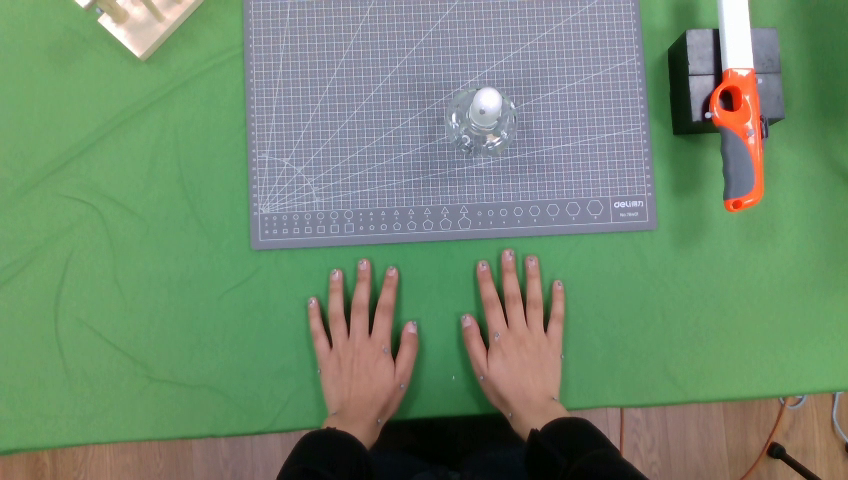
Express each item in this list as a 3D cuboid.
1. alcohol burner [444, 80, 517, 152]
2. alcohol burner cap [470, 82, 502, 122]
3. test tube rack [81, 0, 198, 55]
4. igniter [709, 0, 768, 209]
[{"bbox_3d":[0.060,-0.133,0.624,0.078,0.119,0.077,0,83,-2],"label":"alcohol burner"},{"bbox_3d":[0.062,-0.136,0.588,0.034,0.048,0.034,0,87,3],"label":"alcohol burner cap"},{"bbox_3d":[-0.258,-0.321,0.648,0.066,0.085,0.242,42,86,3],"label":"test tube rack"},{"bbox_3d":[0.325,-0.169,0.631,0.057,0.025,0.275,0,83,1],"label":"igniter"}]
